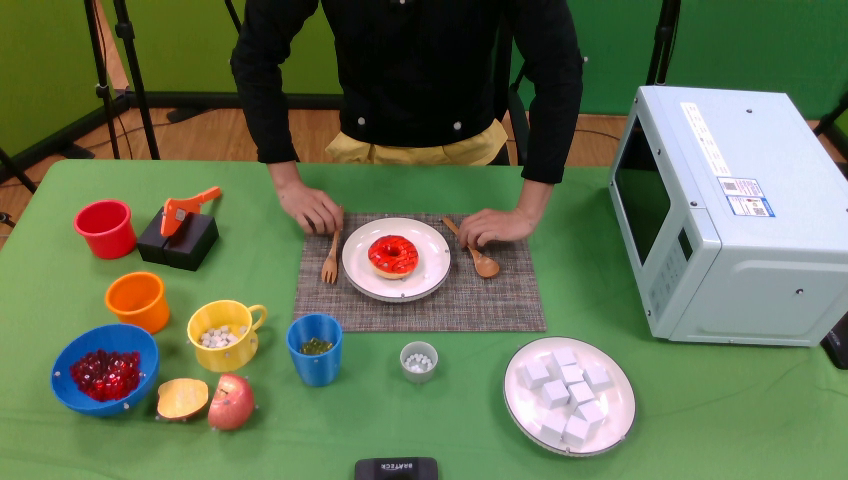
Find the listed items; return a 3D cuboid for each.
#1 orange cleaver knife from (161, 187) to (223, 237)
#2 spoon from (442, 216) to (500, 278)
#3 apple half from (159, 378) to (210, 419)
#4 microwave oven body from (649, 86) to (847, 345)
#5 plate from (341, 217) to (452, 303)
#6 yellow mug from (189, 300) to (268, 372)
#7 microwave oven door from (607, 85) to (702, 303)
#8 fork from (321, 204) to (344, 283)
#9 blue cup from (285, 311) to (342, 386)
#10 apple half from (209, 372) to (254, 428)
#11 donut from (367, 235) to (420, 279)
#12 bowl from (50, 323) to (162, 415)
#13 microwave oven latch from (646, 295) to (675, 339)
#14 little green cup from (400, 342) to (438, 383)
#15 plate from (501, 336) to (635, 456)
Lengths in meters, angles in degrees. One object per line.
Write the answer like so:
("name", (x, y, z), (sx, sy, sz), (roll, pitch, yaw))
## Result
("orange cleaver knife", (-0.448, -0.058, 1.181), (0.012, 0.077, 0.211), (13, 17, 6))
("spoon", (0.087, 0.008, 1.190), (0.041, 0.022, 0.192), (-35, 54, -4))
("apple half", (-0.366, 0.247, 0.926), (0.081, 0.033, 0.081), (8, 31, -5))
("microwave oven body", (0.568, -0.053, 1.118), (0.326, 0.261, 0.439), (2, 45, -1))
("plate", (-0.052, 0.039, 1.140), (0.209, 0.038, 0.208), (2, 46, -2))
("yellow mug", (-0.316, 0.149, 1.002), (0.131, 0.064, 0.099), (-32, 55, -31))
("microwave oven door", (0.423, -0.094, 1.141), (0.039, 0.245, 0.353), (2, 46, -1))
("fork", (-0.173, 0.003, 1.173), (0.028, 0.019, 0.206), (8, 51, -6))
("blue cup", (-0.170, 0.180, 0.958), (0.093, 0.101, 0.092), (2, 44, -1))
("apple half", (-0.282, 0.243, 0.908), (0.053, 0.075, 0.080), (7, 42, -2))
("donut", (-0.057, 0.032, 1.131), (0.099, 0.048, 0.098), (3, 45, -3))
("bowl", (-0.472, 0.209, 0.924), (0.151, 0.077, 0.150), (3, 45, -2))
("microwave oven latch", (0.412, 0.134, 1.061), (0.030, 0.029, 0.078), (4, 45, 1))
("little green cup", (-0.010, 0.202, 0.991), (0.061, 0.039, 0.061), (2, 47, -2))
("plate", (0.225, 0.248, 0.963), (0.208, 0.039, 0.206), (2, 46, -2))
